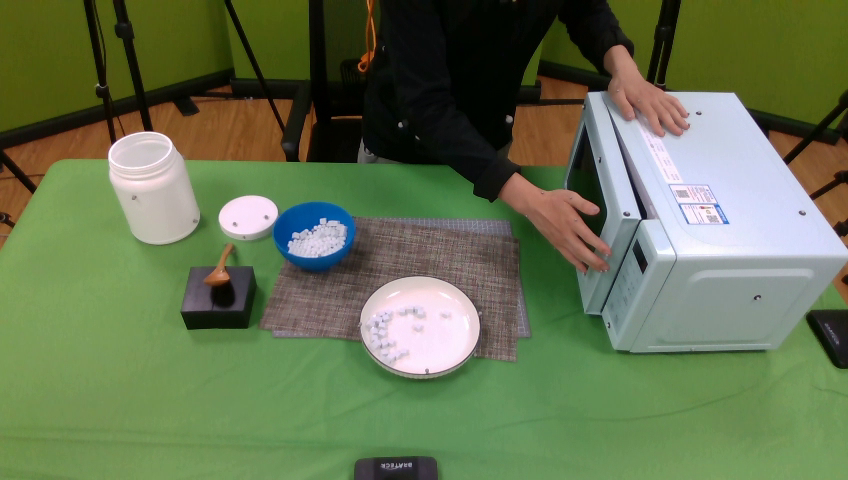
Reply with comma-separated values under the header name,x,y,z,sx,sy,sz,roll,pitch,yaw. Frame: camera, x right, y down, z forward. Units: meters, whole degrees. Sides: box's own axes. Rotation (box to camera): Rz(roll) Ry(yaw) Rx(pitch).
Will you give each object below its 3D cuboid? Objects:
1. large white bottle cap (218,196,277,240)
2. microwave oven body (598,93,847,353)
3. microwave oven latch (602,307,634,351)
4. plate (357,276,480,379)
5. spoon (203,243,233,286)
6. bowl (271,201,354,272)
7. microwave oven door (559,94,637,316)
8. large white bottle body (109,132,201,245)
name,x,y,z,sx,sy,sz,roll,pitch,yaw
large white bottle cap,-0.354,-0.045,1.220,0.115,0.018,0.114,1,45,-1
microwave oven body,0.476,-0.041,1.110,0.326,0.261,0.438,-1,45,-4
microwave oven latch,0.332,0.153,1.044,0.030,0.029,0.078,-1,45,-4
plate,-0.009,0.151,1.038,0.209,0.038,0.208,2,47,-2
spoon,-0.360,0.039,1.087,0.041,0.022,0.192,-6,24,-6
bowl,-0.205,0.006,1.134,0.151,0.077,0.150,3,46,-3
microwave oven door,0.313,-0.075,1.122,0.039,0.245,0.353,3,46,-1
large white bottle body,-0.506,-0.097,1.141,0.131,0.185,0.130,2,46,-2
